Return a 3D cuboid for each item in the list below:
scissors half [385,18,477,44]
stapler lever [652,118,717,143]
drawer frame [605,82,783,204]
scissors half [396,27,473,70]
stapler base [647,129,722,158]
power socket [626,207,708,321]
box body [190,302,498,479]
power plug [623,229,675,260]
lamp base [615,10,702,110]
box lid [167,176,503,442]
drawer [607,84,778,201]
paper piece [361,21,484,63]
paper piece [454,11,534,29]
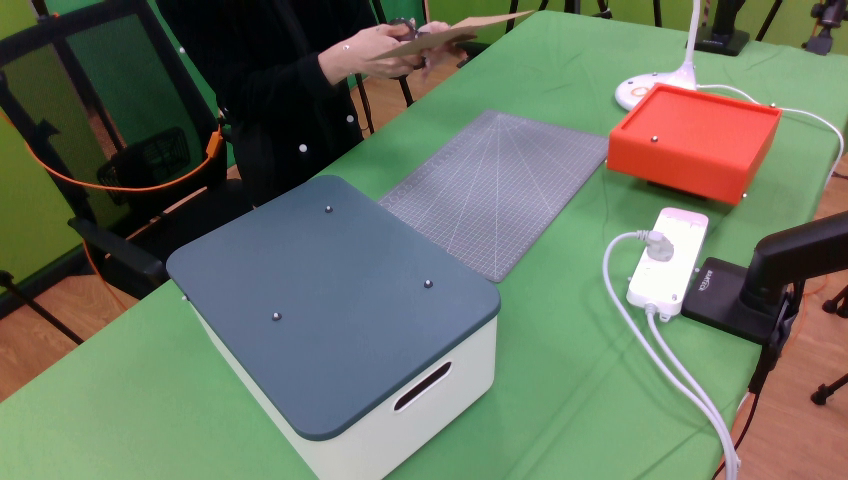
[{"bbox_3d":[0.007,-0.322,0.943,0.174,0.040,0.013,18,54,30],"label":"scissors half"},{"bbox_3d":[0.436,-0.192,1.014,0.118,0.040,0.026,-16,25,-16],"label":"stapler lever"},{"bbox_3d":[0.441,-0.167,0.995,0.212,0.083,0.202,23,48,30],"label":"drawer frame"},{"bbox_3d":[0.016,-0.305,0.955,0.174,0.040,0.013,-10,31,50],"label":"scissors half"},{"bbox_3d":[0.439,-0.167,1.023,0.131,0.024,0.041,-16,25,-15],"label":"stapler base"},{"bbox_3d":[0.360,0.026,0.886,0.072,0.033,0.227,16,46,26],"label":"power socket"},{"bbox_3d":[-0.110,0.103,0.761,0.255,0.161,0.361,-33,46,-27],"label":"box body"},{"bbox_3d":[0.327,0.007,0.878,0.072,0.053,0.035,25,51,33],"label":"power plug"},{"bbox_3d":[0.484,-0.364,1.211,0.180,0.181,0.159,-15,41,-14],"label":"lamp base"},{"bbox_3d":[-0.119,0.047,0.714,0.264,0.015,0.368,-32,47,-27],"label":"box lid"},{"bbox_3d":[0.438,-0.167,0.995,0.210,0.073,0.195,23,48,30],"label":"drawer"},{"bbox_3d":[-0.002,-0.287,0.880,0.134,0.004,0.136,-6,17,47],"label":"paper piece"},{"bbox_3d":[0.085,-0.343,0.965,0.137,0.009,0.137,7,27,43],"label":"paper piece"}]
